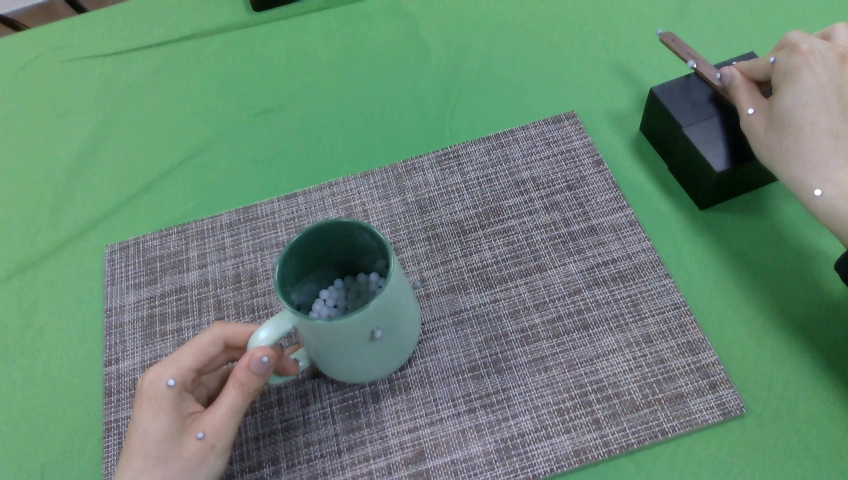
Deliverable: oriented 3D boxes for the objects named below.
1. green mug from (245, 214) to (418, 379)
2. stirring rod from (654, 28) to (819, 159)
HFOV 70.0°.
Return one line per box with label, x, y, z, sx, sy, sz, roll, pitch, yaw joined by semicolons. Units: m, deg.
green mug;-0.067;0.052;0.428;0.125;0.106;0.091;-37;61;-15
stirring rod;0.252;-0.125;0.499;0.014;0.006;0.174;-27;59;-10
